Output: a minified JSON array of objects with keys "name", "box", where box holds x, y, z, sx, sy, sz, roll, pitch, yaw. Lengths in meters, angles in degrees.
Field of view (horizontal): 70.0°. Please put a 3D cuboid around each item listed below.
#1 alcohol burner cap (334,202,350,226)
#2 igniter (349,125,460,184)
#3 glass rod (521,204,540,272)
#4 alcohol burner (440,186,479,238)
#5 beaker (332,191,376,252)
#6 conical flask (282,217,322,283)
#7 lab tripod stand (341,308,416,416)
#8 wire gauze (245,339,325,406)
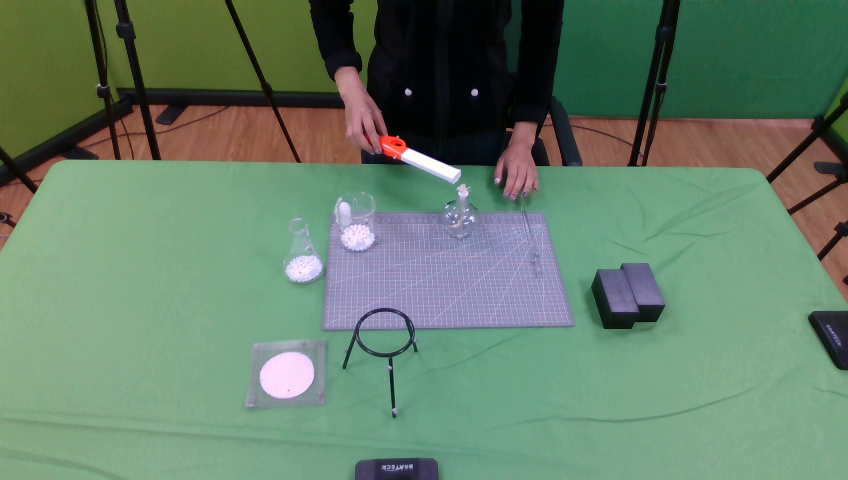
[{"name":"alcohol burner cap","box":[-0.166,-0.055,1.223,0.034,0.048,0.033,2,46,-2]},{"name":"igniter","box":[-0.047,-0.177,1.224,0.275,0.025,0.057,27,55,27]},{"name":"glass rod","box":[0.215,-0.008,1.230,0.008,0.008,0.198,0,43,-3]},{"name":"alcohol burner","box":[0.072,-0.062,1.198,0.078,0.119,0.077,3,47,-3]},{"name":"beaker","box":[-0.133,-0.032,1.163,0.084,0.101,0.073,-19,50,-20]},{"name":"conical flask","box":[-0.225,0.016,1.097,0.075,0.122,0.075,2,46,-2]},{"name":"lab tripod stand","box":[-0.061,0.177,0.946,0.148,0.132,0.147,2,44,-2]},{"name":"wire gauze","box":[-0.224,0.214,0.984,0.125,0.011,0.120,-2,46,-5]}]
